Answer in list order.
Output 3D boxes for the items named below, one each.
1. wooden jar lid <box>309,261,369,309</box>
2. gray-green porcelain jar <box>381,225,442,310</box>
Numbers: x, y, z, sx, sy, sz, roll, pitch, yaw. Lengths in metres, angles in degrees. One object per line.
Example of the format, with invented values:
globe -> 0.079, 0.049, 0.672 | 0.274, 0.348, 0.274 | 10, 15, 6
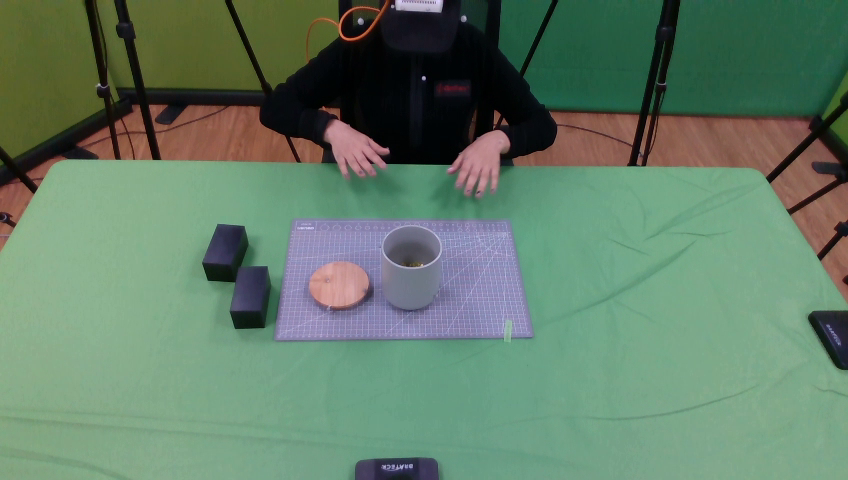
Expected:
wooden jar lid -> -0.155, 0.084, 1.104 | 0.108, 0.021, 0.107 | 3, 47, -3
gray-green porcelain jar -> -0.023, 0.053, 1.068 | 0.106, 0.127, 0.105 | 2, 46, -2
